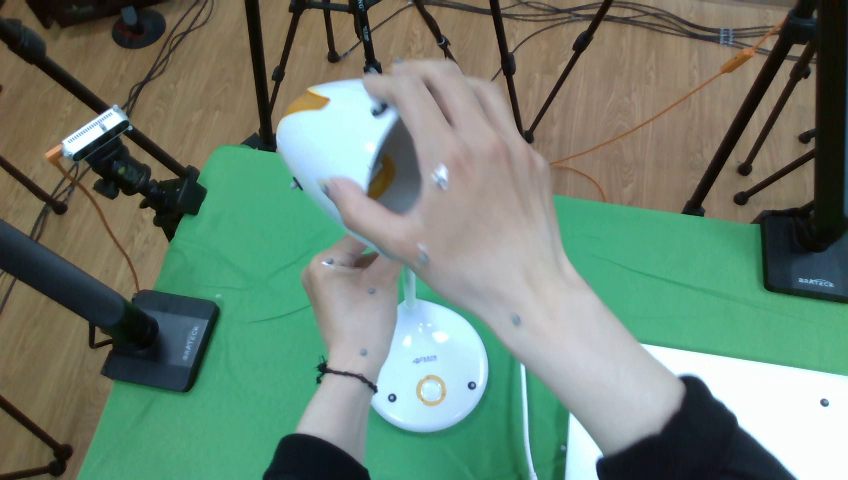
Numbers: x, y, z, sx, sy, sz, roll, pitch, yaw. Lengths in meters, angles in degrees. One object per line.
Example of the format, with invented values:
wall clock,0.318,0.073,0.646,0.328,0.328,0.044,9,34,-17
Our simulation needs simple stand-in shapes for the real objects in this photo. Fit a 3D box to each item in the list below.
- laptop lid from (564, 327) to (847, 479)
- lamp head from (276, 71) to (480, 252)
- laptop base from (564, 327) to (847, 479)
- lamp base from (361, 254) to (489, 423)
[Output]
laptop lid,0.345,0.238,0.707,0.356,0.013,0.240,10,67,5
lamp head,-0.038,-0.061,0.411,0.122,0.113,0.112,25,65,38
laptop base,0.346,0.241,0.718,0.354,0.023,0.234,8,68,5
lamp base,-0.005,0.104,0.697,0.161,0.181,0.177,-19,63,-8
